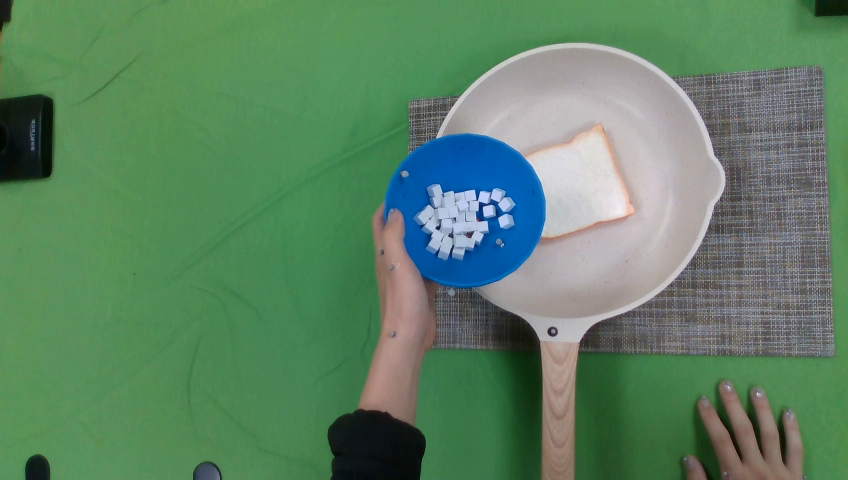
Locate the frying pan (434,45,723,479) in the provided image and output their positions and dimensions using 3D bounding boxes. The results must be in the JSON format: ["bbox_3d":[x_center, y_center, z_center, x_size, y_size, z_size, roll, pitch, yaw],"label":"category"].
[{"bbox_3d":[0.142,0.045,0.633,0.306,0.103,0.485,1,78,16],"label":"frying pan"}]

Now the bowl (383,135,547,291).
[{"bbox_3d":[0.039,-0.017,0.590,0.151,0.077,0.150,-1,74,3],"label":"bowl"}]

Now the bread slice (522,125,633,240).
[{"bbox_3d":[0.152,-0.052,0.678,0.134,0.018,0.106,-23,81,10],"label":"bread slice"}]
